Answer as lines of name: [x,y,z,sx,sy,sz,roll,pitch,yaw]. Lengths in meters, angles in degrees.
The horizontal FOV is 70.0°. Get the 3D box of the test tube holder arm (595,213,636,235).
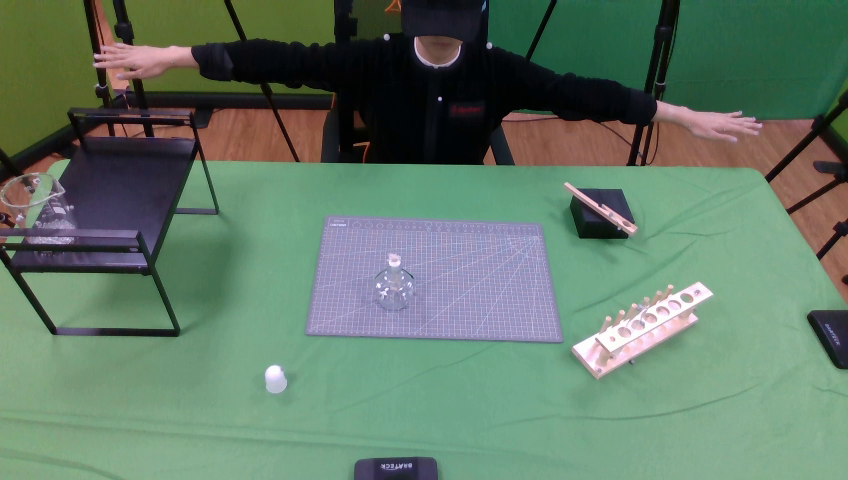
test tube holder arm: [0.375,-0.036,1.191,0.087,0.010,0.015,36,94,30]

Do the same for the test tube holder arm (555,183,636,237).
test tube holder arm: [0.338,-0.061,1.196,0.178,0.013,0.015,34,95,4]

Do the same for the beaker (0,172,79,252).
beaker: [-0.557,-0.038,0.889,0.084,0.101,0.073,-3,47,-8]

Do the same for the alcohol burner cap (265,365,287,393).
alcohol burner cap: [-0.236,0.216,0.956,0.034,0.048,0.033,3,46,-3]

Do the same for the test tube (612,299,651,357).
test tube: [0.328,0.143,0.962,0.017,0.151,0.017,3,48,-3]

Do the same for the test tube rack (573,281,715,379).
test tube rack: [0.378,0.140,1.038,0.242,0.085,0.066,-21,50,-22]

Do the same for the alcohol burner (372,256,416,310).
alcohol burner: [-0.052,0.068,1.057,0.078,0.120,0.077,1,48,-1]
